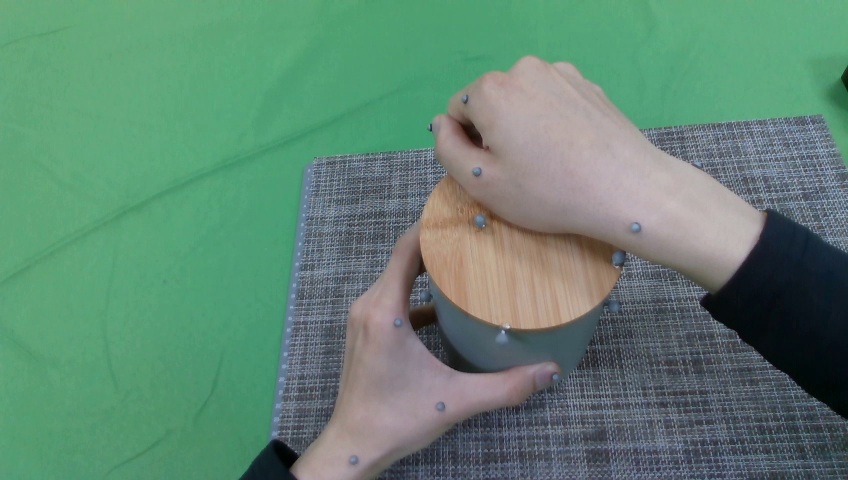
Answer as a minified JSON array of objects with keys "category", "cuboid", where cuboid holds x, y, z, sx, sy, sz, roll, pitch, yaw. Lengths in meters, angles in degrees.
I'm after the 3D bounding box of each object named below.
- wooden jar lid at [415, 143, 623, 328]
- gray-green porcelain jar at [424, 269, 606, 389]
[{"category":"wooden jar lid","cuboid":[0.050,-0.003,0.325,0.108,0.021,0.107,0,65,1]},{"category":"gray-green porcelain jar","cuboid":[0.055,0.030,0.379,0.106,0.127,0.105,-2,60,4]}]
